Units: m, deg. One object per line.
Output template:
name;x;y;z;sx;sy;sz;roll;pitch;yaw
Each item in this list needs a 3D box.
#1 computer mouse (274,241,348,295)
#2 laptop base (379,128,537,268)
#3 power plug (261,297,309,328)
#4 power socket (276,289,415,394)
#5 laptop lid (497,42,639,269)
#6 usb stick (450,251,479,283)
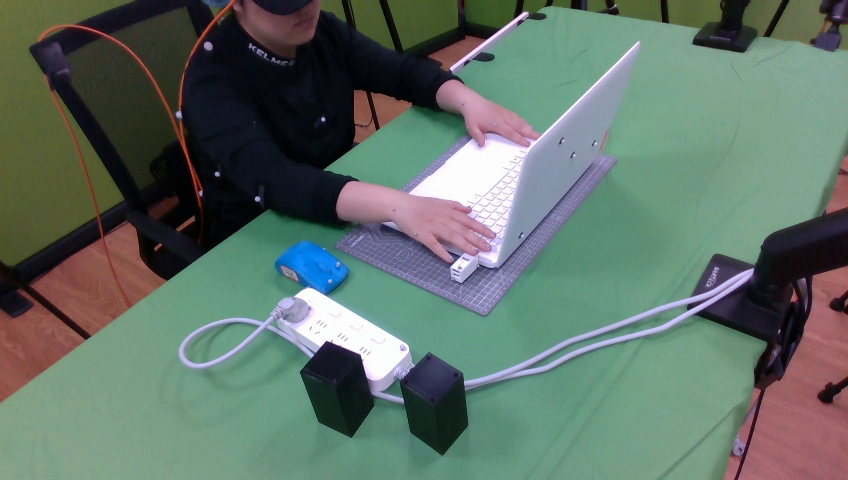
computer mouse;-0.175;0.040;0.935;0.116;0.041;0.063;27;48;27
laptop base;0.118;-0.089;1.058;0.233;0.023;0.355;19;47;33
power plug;-0.192;0.107;0.831;0.073;0.053;0.035;-32;43;-25
power socket;-0.113;0.133;0.821;0.225;0.033;0.072;25;49;33
laptop lid;0.221;-0.130;0.913;0.013;0.242;0.357;31;51;21
usb stick;0.065;0.036;0.900;0.021;0.027;0.059;21;44;32
